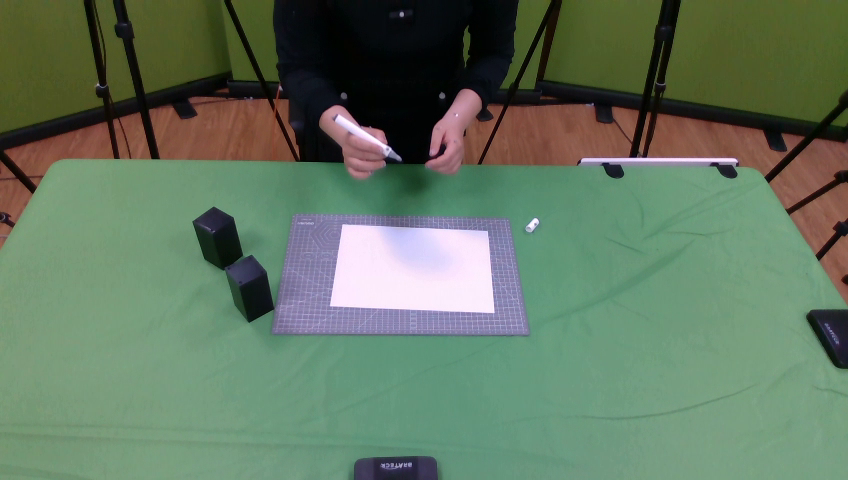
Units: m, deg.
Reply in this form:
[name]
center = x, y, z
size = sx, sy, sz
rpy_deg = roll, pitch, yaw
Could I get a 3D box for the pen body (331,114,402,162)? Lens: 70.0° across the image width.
[pen body]
center = -0.100, -0.179, 1.081
size = 0.144, 0.017, 0.017
rpy_deg = 32, 47, -6

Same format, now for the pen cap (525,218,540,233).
[pen cap]
center = 0.224, -0.031, 1.248
size = 0.017, 0.017, 0.038
rpy_deg = 30, 51, 23
